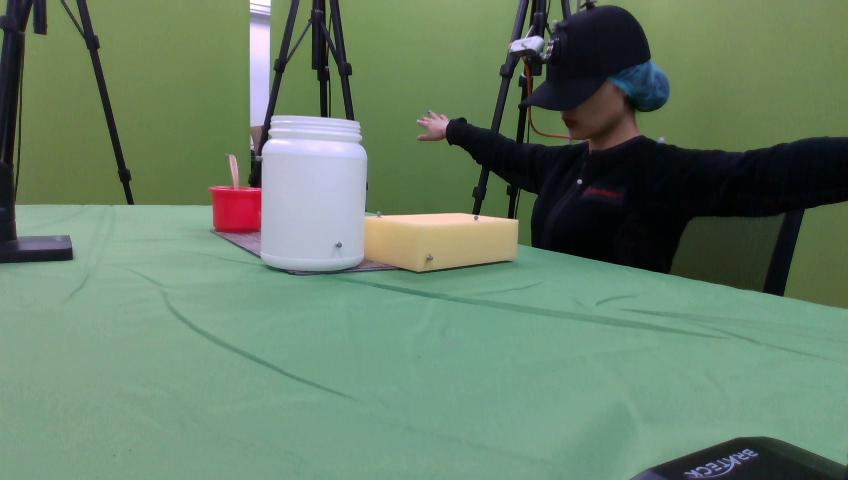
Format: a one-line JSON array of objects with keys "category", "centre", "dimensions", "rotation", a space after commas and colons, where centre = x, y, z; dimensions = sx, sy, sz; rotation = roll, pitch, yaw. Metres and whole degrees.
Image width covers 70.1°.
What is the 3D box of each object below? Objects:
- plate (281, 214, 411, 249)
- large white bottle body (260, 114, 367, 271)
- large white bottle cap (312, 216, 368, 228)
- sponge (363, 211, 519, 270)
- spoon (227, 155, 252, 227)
[{"category": "plate", "centre": [-0.125, -0.014, 0.979], "dimensions": [0.209, 0.038, 0.209], "rotation": [2, 7, 0]}, {"category": "large white bottle body", "centre": [-0.139, -0.062, 0.763], "dimensions": [0.131, 0.184, 0.130], "rotation": [3, 8, 0]}, {"category": "large white bottle cap", "centre": [-0.171, -0.038, 1.234], "dimensions": [0.115, 0.018, 0.115], "rotation": [1, 5, 0]}, {"category": "sponge", "centre": [0.027, -0.004, 0.858], "dimensions": [0.117, 0.061, 0.208], "rotation": [9, 10, 44]}, {"category": "spoon", "centre": [-0.343, -0.093, 1.108], "dimensions": [0.042, 0.021, 0.193], "rotation": [-1, 52, -22]}]
